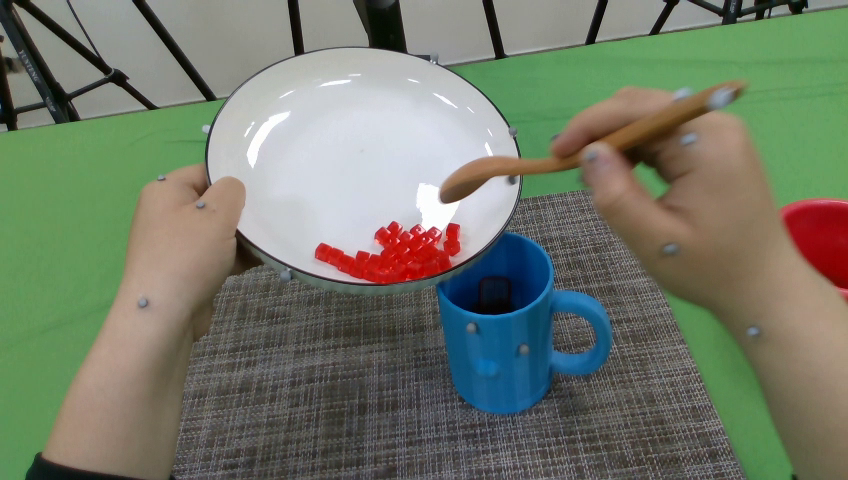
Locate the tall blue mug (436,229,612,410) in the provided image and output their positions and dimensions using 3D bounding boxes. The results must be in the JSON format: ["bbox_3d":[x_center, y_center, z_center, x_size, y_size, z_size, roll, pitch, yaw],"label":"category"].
[{"bbox_3d":[0.067,0.054,0.420,0.107,0.109,0.077,-13,43,-2],"label":"tall blue mug"}]

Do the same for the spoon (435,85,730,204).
[{"bbox_3d":[0.062,-0.040,0.297,0.042,0.021,0.193,-18,6,-30],"label":"spoon"}]

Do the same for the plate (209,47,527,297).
[{"bbox_3d":[-0.035,-0.049,0.413,0.208,0.039,0.205,4,56,-6],"label":"plate"}]
